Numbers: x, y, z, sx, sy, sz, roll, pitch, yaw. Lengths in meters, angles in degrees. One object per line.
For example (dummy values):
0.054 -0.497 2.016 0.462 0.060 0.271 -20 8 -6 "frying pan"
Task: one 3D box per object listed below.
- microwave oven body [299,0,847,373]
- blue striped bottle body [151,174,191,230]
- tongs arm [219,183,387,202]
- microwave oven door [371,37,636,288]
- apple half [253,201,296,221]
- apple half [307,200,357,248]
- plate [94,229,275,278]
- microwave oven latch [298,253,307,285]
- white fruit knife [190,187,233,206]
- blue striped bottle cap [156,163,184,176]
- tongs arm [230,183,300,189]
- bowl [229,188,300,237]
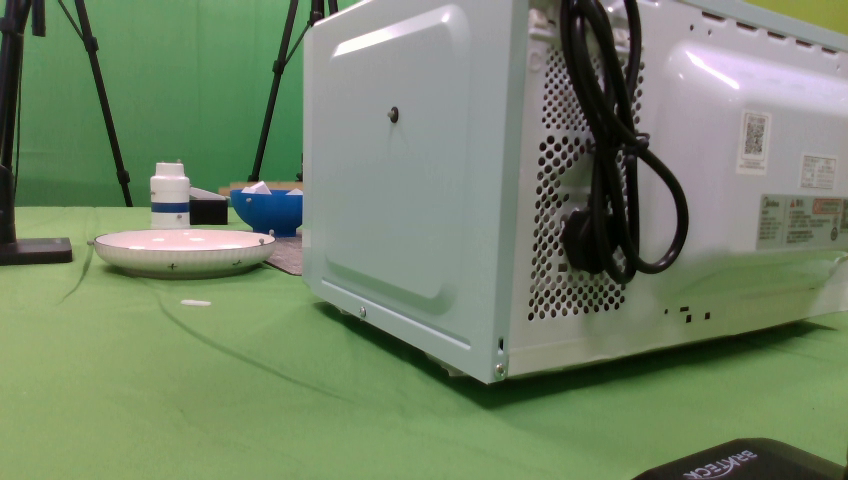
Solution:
0.152 -0.055 0.542 0.444 0.260 0.324 -2 7 -33 "microwave oven body"
-0.439 -0.071 1.052 0.063 0.120 0.063 2 7 0 "blue striped bottle body"
-0.273 -0.111 1.405 0.389 0.028 0.028 -4 7 -15 "tongs arm"
0.109 -0.080 0.686 0.358 0.243 0.039 -2 9 -33 "microwave oven door"
-0.264 -0.053 1.067 0.081 0.033 0.081 2 10 0 "apple half"
-0.136 -0.024 0.942 0.053 0.074 0.081 15 10 38 "apple half"
-0.291 0.016 0.750 0.208 0.039 0.207 2 7 0 "plate"
-0.081 0.027 0.583 0.079 0.029 0.030 -2 7 -33 "microwave oven latch"
-0.413 -0.081 1.270 0.208 0.027 0.016 18 14 -42 "white fruit knife"
-0.438 -0.122 1.045 0.044 0.020 0.044 4 6 0 "blue striped bottle cap"
-0.283 -0.126 1.480 0.385 0.026 0.050 -1 10 -4 "tongs arm"
-0.265 -0.048 1.066 0.151 0.077 0.151 3 8 0 "bowl"
